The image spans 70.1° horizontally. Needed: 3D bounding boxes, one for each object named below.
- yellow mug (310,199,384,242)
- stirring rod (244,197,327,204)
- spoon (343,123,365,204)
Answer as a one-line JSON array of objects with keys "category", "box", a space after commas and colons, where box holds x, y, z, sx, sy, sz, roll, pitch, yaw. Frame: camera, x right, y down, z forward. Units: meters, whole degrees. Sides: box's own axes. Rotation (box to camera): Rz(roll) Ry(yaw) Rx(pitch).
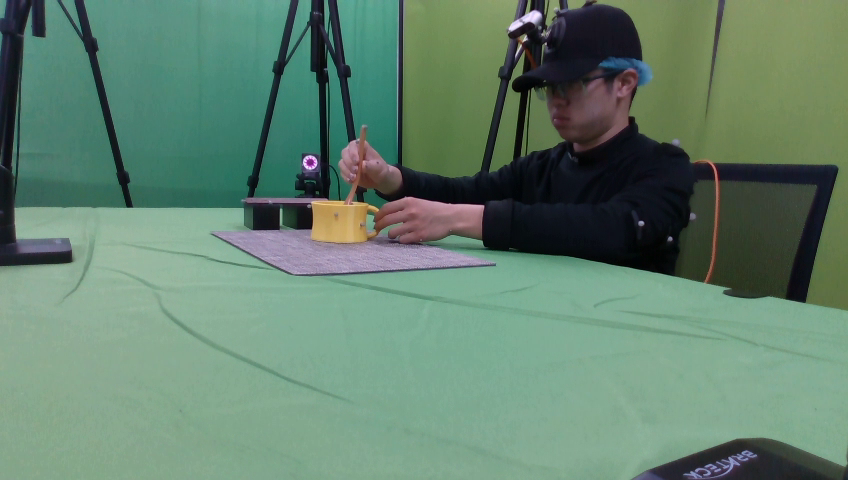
[{"category": "yellow mug", "box": [-0.132, -0.035, 1.054, 0.131, 0.064, 0.099, 0, 8, -23]}, {"category": "stirring rod", "box": [-0.270, -0.078, 1.201, 0.177, 0.006, 0.014, -2, 44, -37]}, {"category": "spoon", "box": [-0.121, -0.104, 1.039, 0.022, 0.193, 0.041, 13, 3, -18]}]
